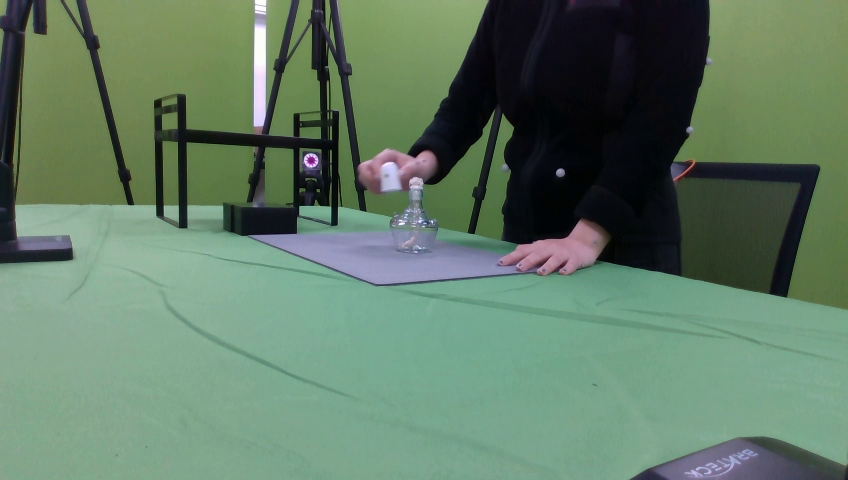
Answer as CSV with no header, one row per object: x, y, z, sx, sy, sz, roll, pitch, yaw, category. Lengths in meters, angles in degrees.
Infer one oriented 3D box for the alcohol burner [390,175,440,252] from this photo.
-0.013,-0.041,0.929,0.078,0.119,0.078,4,8,0,alcohol burner

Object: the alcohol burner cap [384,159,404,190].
-0.049,-0.102,0.944,0.034,0.048,0.034,-6,-1,0,alcohol burner cap
